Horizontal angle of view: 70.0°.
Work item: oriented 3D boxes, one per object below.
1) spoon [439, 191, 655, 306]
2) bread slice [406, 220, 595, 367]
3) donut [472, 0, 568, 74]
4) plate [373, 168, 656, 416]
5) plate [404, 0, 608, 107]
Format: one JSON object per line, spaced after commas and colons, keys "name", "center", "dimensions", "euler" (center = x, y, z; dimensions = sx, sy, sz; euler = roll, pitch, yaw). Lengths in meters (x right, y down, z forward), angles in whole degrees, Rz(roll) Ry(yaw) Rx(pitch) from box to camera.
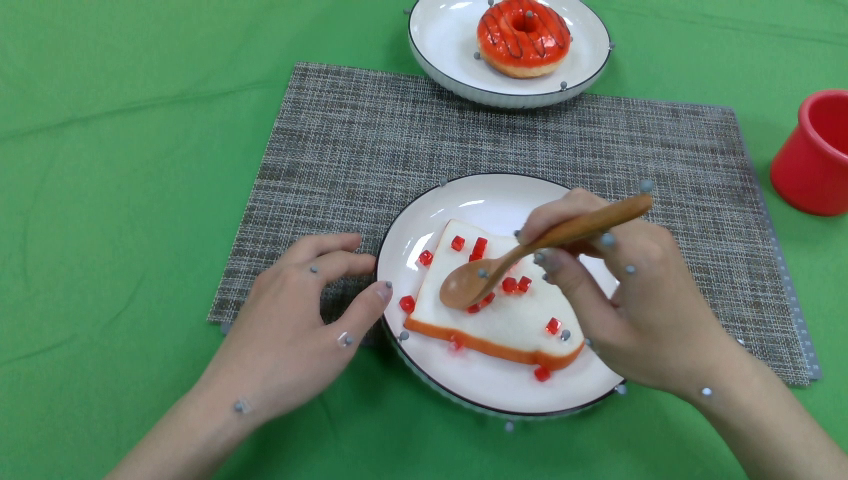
{"name": "spoon", "center": [0.060, 0.007, 0.361], "dimensions": [0.022, 0.194, 0.041], "euler": [33, 62, -12]}
{"name": "bread slice", "center": [0.063, 0.039, 0.459], "dimensions": [0.131, 0.019, 0.104], "euler": [14, 55, 9]}
{"name": "donut", "center": [0.098, -0.209, 0.619], "dimensions": [0.099, 0.048, 0.098], "euler": [3, 56, -4]}
{"name": "plate", "center": [0.065, 0.034, 0.458], "dimensions": [0.209, 0.038, 0.207], "euler": [2, 55, -3]}
{"name": "plate", "center": [0.083, -0.205, 0.629], "dimensions": [0.208, 0.039, 0.205], "euler": [3, 53, -3]}
